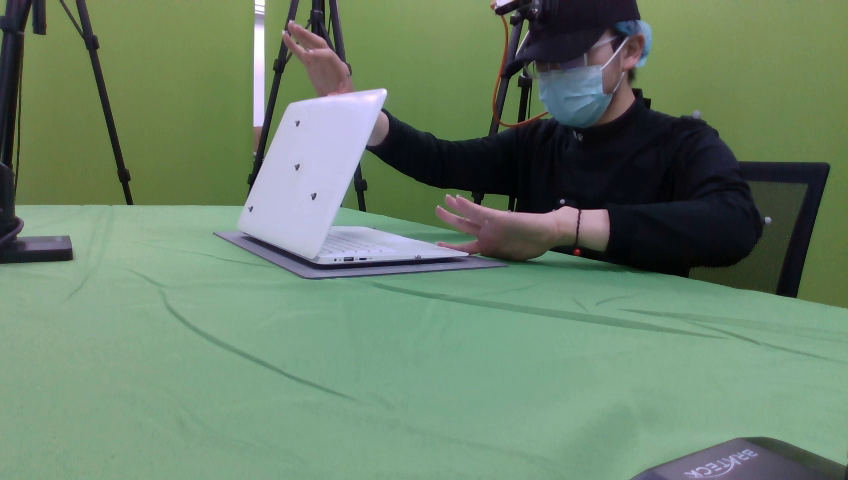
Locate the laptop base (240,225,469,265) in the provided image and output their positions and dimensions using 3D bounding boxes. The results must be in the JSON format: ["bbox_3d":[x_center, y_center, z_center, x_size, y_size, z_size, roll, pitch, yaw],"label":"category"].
[{"bbox_3d":[-0.124,0.004,0.936,0.237,0.023,0.352,2,7,-33],"label":"laptop base"}]

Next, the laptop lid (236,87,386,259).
[{"bbox_3d":[-0.182,-0.106,0.881,0.013,0.241,0.355,25,-5,-33],"label":"laptop lid"}]
